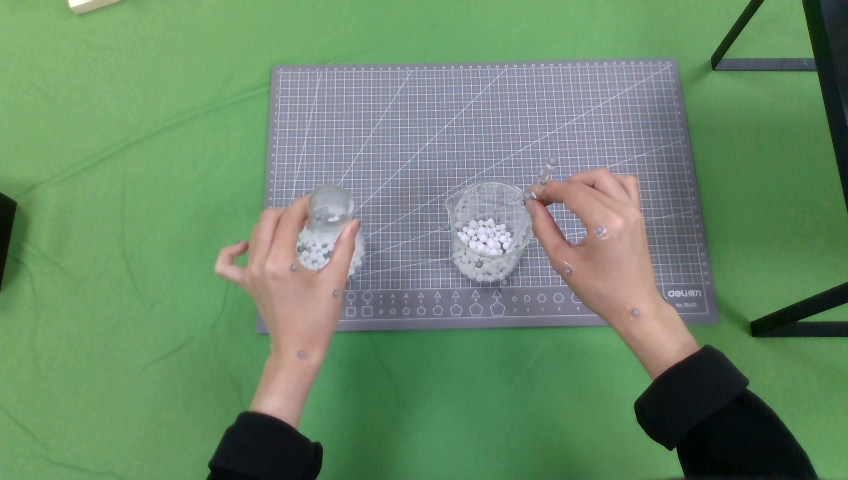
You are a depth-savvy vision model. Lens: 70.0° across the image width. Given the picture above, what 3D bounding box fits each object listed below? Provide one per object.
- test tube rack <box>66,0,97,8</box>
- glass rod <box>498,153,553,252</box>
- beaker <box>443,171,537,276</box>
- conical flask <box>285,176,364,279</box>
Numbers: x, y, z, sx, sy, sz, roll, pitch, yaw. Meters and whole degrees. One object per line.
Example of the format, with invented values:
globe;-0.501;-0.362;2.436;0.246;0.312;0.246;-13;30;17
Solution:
test tube rack;-0.306;-0.352;0.679;0.242;0.085;0.066;-22;74;-6
glass rod;0.081;-0.024;0.508;0.008;0.201;0.008;1;70;-3
beaker;0.056;-0.011;0.565;0.084;0.101;0.073;22;74;8
conical flask;-0.086;-0.015;0.535;0.075;0.122;0.075;4;71;-10
